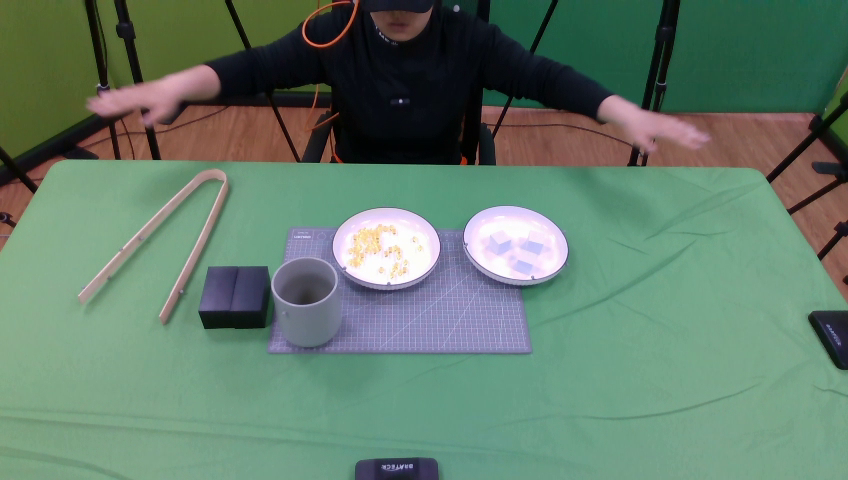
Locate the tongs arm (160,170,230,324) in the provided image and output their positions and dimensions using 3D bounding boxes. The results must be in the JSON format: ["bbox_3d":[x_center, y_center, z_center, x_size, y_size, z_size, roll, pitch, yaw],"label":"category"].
[{"bbox_3d":[-0.433,-0.001,1.164,0.028,0.028,0.385,4,46,2],"label":"tongs arm"}]

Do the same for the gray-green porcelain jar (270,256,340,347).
[{"bbox_3d":[-0.193,0.107,1.004,0.106,0.127,0.105,2,46,-2],"label":"gray-green porcelain jar"}]

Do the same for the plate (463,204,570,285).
[{"bbox_3d":[0.178,0.011,1.184,0.209,0.038,0.208,3,46,-3],"label":"plate"}]

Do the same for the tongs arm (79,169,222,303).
[{"bbox_3d":[-0.512,-0.020,1.169,0.050,0.026,0.383,16,46,9],"label":"tongs arm"}]

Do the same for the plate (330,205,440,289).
[{"bbox_3d":[-0.074,0.017,1.160,0.208,0.039,0.206,2,46,-2],"label":"plate"}]
